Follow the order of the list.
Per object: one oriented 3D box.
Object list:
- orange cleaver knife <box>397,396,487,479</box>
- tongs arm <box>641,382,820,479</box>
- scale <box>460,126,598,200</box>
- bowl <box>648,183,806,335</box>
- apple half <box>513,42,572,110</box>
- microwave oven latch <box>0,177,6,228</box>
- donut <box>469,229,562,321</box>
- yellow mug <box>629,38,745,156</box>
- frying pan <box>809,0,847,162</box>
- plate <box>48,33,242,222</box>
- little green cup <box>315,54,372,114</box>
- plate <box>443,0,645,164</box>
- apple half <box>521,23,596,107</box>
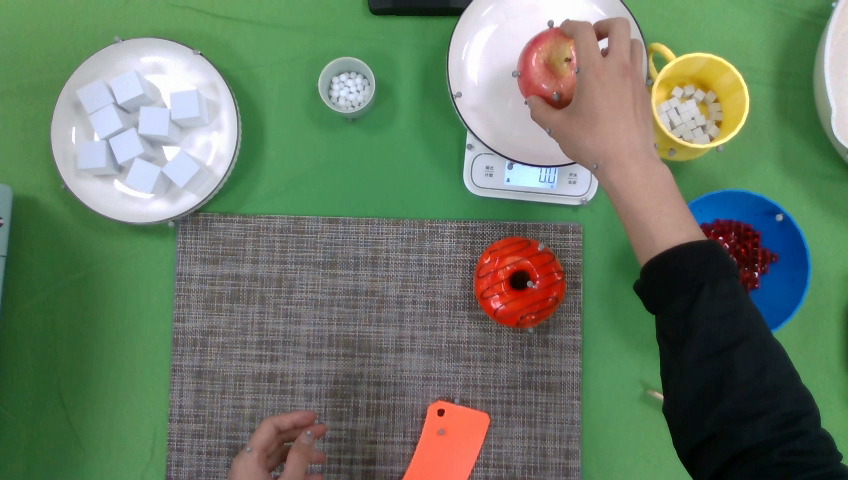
[{"bbox_3d":[-0.005,0.263,0.648,0.077,0.012,0.211,30,85,-4],"label":"orange cleaver knife"},{"bbox_3d":[0.399,0.258,0.640,0.387,0.028,0.028,32,80,2],"label":"tongs arm"},{"bbox_3d":[0.121,-0.149,0.667,0.148,0.031,0.200,6,87,2],"label":"scale"},{"bbox_3d":[0.300,0.021,0.632,0.151,0.077,0.151,0,88,2],"label":"bowl"},{"bbox_3d":[0.108,-0.152,0.596,0.033,0.081,0.081,-38,86,3],"label":"apple half"},{"bbox_3d":[-0.473,-0.031,0.649,0.030,0.029,0.079,6,87,1],"label":"microwave oven latch"},{"bbox_3d":[0.097,0.038,0.647,0.099,0.048,0.099,0,87,3],"label":"donut"},{"bbox_3d":[0.270,-0.159,0.648,0.100,0.064,0.130,-31,86,0],"label":"yellow mug"},{"bbox_3d":[0.591,-0.085,0.619,0.307,0.103,0.485,-25,79,1],"label":"frying pan"},{"bbox_3d":[-0.302,-0.121,0.670,0.208,0.039,0.207,0,87,1],"label":"plate"},{"bbox_3d":[-0.086,-0.170,0.669,0.061,0.038,0.061,0,86,1],"label":"little green cup"},{"bbox_3d":[0.123,-0.181,0.636,0.209,0.038,0.208,0,87,1],"label":"plate"},{"bbox_3d":[0.138,-0.176,0.593,0.053,0.075,0.080,-38,83,2],"label":"apple half"}]
